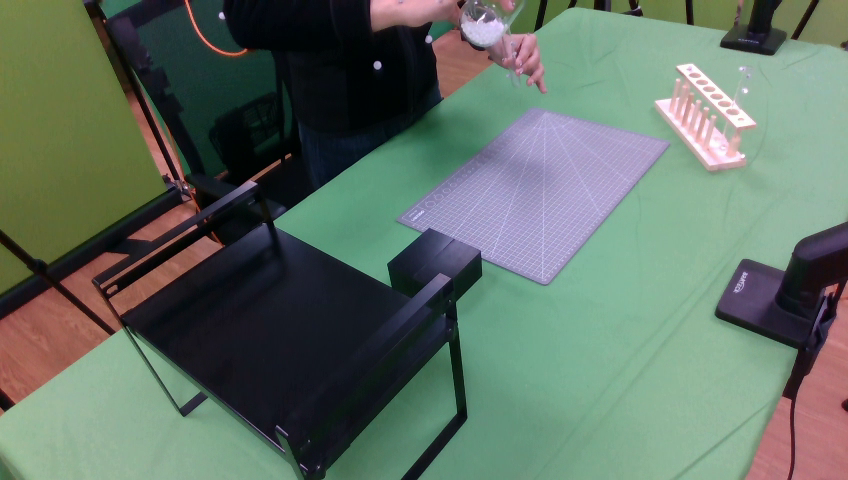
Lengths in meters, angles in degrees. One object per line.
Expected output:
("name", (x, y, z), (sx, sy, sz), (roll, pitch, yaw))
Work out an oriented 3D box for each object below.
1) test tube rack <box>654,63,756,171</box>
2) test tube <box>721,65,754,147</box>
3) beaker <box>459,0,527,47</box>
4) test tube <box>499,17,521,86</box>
("test tube rack", (0.511, -0.233, 1.120), (0.067, 0.085, 0.241), (-8, 41, -1))
("test tube", (0.534, -0.226, 1.031), (0.017, 0.151, 0.017), (-2, 40, 2))
("beaker", (0.099, -0.333, 0.880), (0.073, 0.084, 0.100), (17, 52, 19))
("test tube", (0.143, -0.306, 0.997), (0.017, 0.151, 0.017), (-8, 61, 15))
